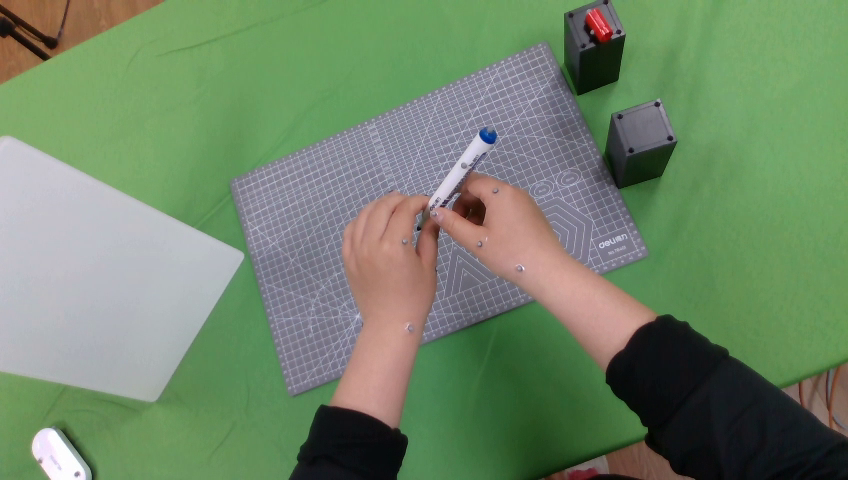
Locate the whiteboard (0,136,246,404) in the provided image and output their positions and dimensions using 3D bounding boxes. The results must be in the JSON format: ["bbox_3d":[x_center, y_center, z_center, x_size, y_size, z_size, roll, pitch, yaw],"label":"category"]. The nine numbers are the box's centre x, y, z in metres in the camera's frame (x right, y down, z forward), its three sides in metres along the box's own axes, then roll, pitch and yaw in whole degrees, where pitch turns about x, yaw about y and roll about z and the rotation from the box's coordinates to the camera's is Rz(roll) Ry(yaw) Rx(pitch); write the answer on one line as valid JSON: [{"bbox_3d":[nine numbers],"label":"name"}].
[{"bbox_3d":[-0.404,0.033,0.690,0.142,0.309,0.217,26,83,37],"label":"whiteboard"}]

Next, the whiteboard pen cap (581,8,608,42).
[{"bbox_3d":[0.179,-0.226,0.635,0.017,0.017,0.032,-28,74,5],"label":"whiteboard pen cap"}]

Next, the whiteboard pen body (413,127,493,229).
[{"bbox_3d":[0.020,-0.049,0.534,0.017,0.141,0.016,16,51,-20],"label":"whiteboard pen body"}]

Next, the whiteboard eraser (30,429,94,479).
[{"bbox_3d":[-0.455,0.279,0.758,0.100,0.019,0.041,40,87,17],"label":"whiteboard eraser"}]
